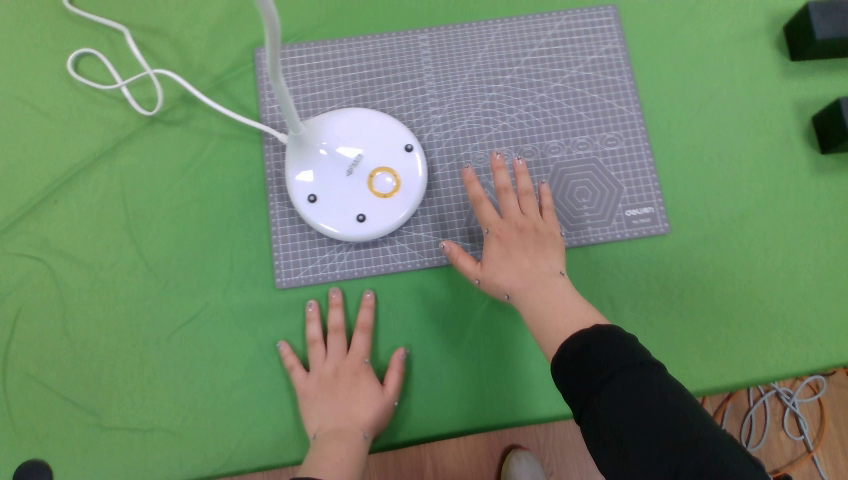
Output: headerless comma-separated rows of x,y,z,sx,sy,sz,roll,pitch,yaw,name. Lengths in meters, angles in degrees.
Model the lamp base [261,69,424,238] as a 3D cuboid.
-0.093,-0.101,0.615,0.179,0.181,0.160,18,77,7,lamp base
